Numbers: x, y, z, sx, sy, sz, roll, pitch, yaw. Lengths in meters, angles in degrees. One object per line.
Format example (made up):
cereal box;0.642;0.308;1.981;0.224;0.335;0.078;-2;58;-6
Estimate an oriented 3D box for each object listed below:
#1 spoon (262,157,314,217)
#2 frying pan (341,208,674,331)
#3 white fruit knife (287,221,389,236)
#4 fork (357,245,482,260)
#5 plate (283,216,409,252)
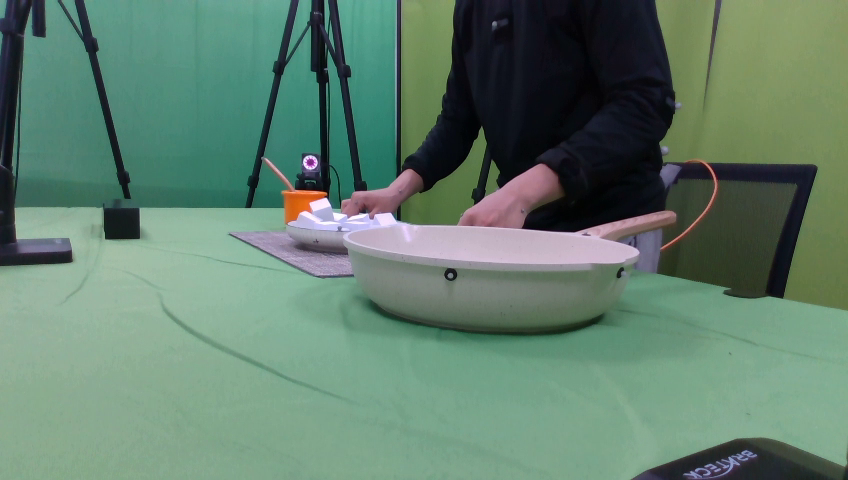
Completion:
spoon;-0.276;-0.103;1.251;0.021;0.193;0.042;-43;-15;22
frying pan;0.144;0.008;0.677;0.490;0.102;0.305;-13;16;-36
white fruit knife;-0.155;-0.020;1.111;0.208;0.027;0.016;-3;-35;-38
fork;0.000;0.017;0.868;0.208;0.018;0.028;-3;-13;-34
plate;-0.119;-0.009;0.968;0.208;0.039;0.207;3;7;0
